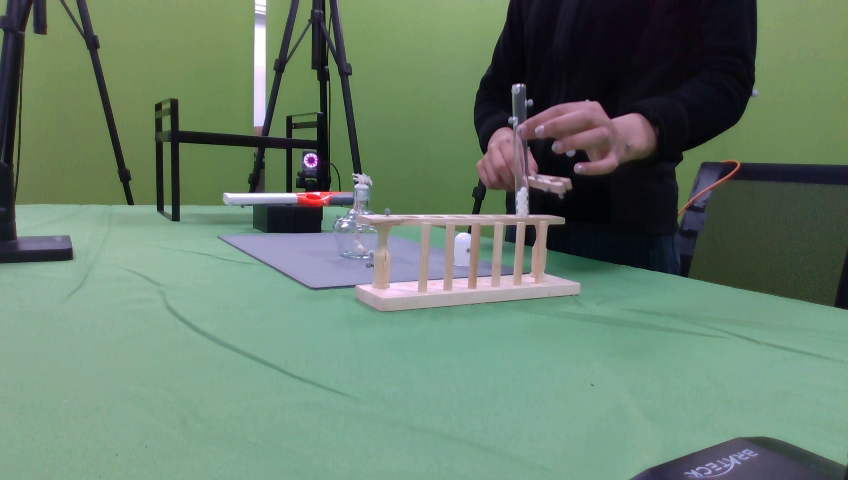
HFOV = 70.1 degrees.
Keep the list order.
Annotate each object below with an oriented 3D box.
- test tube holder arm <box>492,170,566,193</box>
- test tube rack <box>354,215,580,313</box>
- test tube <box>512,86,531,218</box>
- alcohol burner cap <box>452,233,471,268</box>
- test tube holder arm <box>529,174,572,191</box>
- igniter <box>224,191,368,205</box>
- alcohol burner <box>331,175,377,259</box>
[{"bbox_3d":[0.146,-0.087,0.873,0.013,0.015,0.177,-18,18,-22],"label":"test tube holder arm"},{"bbox_3d":[0.053,0.019,0.635,0.243,0.085,0.066,-1,8,-29],"label":"test tube rack"},{"bbox_3d":[0.108,-0.094,0.671,0.017,0.150,0.017,-4,8,1],"label":"test tube"},{"bbox_3d":[0.053,0.014,0.823,0.034,0.048,0.034,3,6,0],"label":"alcohol burner cap"},{"bbox_3d":[0.171,-0.080,0.836,0.010,0.015,0.087,-20,19,-25],"label":"test tube holder arm"},{"bbox_3d":[-0.237,-0.079,1.157,0.278,0.025,0.057,-3,21,-32],"label":"igniter"},{"bbox_3d":[-0.091,-0.033,0.855,0.078,0.119,0.078,4,7,0],"label":"alcohol burner"}]
